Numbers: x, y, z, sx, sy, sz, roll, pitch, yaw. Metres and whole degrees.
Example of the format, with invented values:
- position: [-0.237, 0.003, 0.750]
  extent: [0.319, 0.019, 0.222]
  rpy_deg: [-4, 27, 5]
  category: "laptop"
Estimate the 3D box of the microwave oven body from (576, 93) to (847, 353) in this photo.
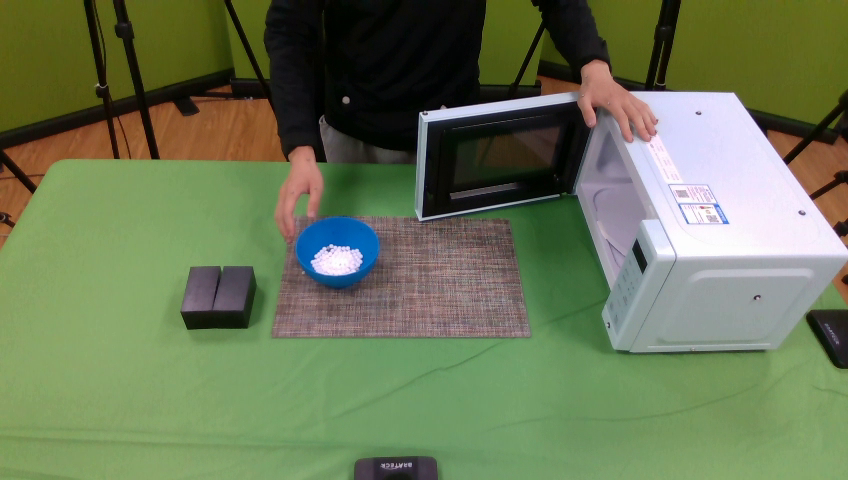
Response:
- position: [0.475, -0.041, 1.109]
  extent: [0.326, 0.261, 0.438]
  rpy_deg: [-1, 45, -4]
  category: "microwave oven body"

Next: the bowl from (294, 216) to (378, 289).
- position: [-0.158, 0.036, 1.110]
  extent: [0.151, 0.077, 0.150]
  rpy_deg: [3, 45, -2]
  category: "bowl"

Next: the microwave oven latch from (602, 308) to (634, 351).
- position: [0.332, 0.153, 1.044]
  extent: [0.030, 0.029, 0.078]
  rpy_deg: [-1, 45, -4]
  category: "microwave oven latch"

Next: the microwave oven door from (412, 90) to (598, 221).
- position: [0.156, -0.165, 1.198]
  extent: [0.356, 0.245, 0.039]
  rpy_deg: [-11, 48, -14]
  category: "microwave oven door"
